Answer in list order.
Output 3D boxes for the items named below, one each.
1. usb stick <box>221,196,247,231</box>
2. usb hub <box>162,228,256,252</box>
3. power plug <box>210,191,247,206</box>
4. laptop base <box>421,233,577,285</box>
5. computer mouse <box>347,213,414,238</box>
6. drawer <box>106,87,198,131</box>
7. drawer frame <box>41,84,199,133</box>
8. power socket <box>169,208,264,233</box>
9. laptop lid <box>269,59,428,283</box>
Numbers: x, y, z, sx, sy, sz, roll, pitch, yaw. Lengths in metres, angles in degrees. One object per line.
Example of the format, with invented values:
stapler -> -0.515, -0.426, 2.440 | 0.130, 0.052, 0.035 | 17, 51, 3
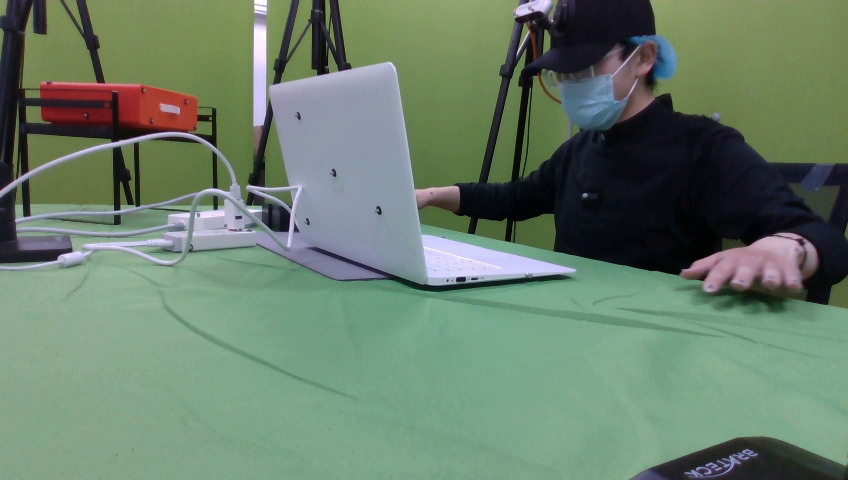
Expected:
usb stick -> -0.290, -0.035, 0.920 | 0.027, 0.059, 0.021 | 14, 4, 32
usb hub -> -0.315, 0.000, 0.893 | 0.049, 0.025, 0.126 | 8, 10, 41
power plug -> -0.386, -0.071, 1.203 | 0.072, 0.052, 0.035 | 8, 10, 25
laptop base -> 0.007, 0.022, 0.850 | 0.237, 0.023, 0.352 | 1, 7, -34
computer mouse -> -0.079, -0.025, 1.080 | 0.117, 0.041, 0.062 | -5, 11, -18
drawer -> -0.602, -0.263, 1.225 | 0.211, 0.073, 0.195 | 3, 8, 10
drawer frame -> -0.604, -0.264, 1.225 | 0.213, 0.082, 0.202 | 3, 8, 8
power socket -> -0.381, -0.038, 1.128 | 0.072, 0.032, 0.227 | 4, 8, 17
laptop lid -> -0.110, -0.087, 0.752 | 0.013, 0.241, 0.355 | -18, 19, -30
